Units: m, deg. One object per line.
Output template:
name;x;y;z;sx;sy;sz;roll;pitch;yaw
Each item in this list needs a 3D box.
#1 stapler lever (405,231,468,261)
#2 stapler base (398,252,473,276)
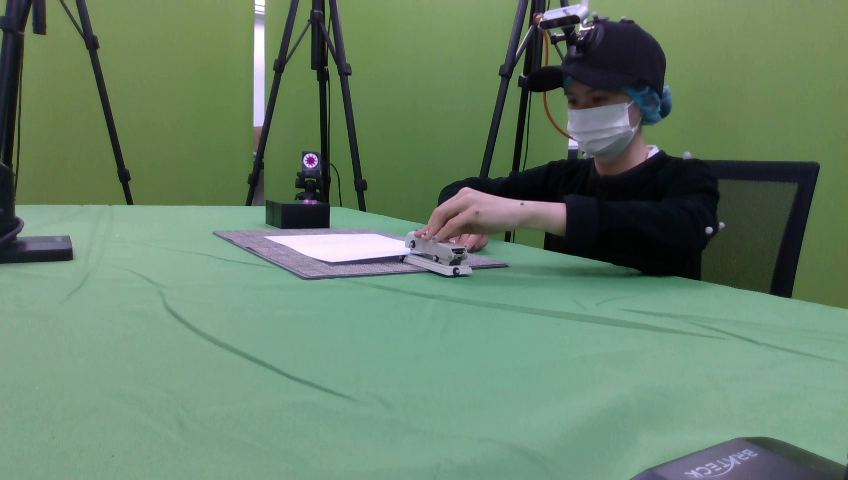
stapler lever;0.013;0.008;0.795;0.027;0.040;0.117;-5;3;-33
stapler base;0.012;0.024;0.797;0.041;0.024;0.130;-5;12;-33
